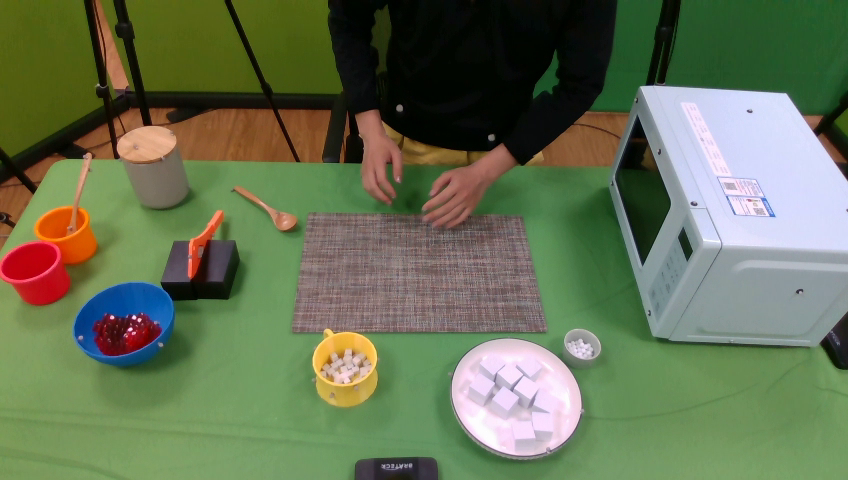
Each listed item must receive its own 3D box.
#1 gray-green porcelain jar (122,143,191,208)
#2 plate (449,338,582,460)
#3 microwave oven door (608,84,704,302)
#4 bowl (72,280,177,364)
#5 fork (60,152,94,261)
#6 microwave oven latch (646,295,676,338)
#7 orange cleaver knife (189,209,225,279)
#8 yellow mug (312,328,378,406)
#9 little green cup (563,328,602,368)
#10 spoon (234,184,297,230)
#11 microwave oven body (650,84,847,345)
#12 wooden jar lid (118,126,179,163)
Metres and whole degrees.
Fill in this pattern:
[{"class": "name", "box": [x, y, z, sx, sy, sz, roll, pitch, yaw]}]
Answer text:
[{"class": "gray-green porcelain jar", "box": [-0.531, -0.137, 1.213, 0.106, 0.127, 0.105, 2, 47, -2]}, {"class": "plate", "box": [0.141, 0.251, 0.956, 0.208, 0.039, 0.206, 2, 46, -2]}, {"class": "microwave oven door", "box": [0.424, -0.096, 1.138, 0.039, 0.245, 0.353, 3, 46, -1]}, {"class": "bowl", "box": [-0.472, 0.147, 0.982, 0.151, 0.077, 0.150, 2, 46, -2]}, {"class": "fork", "box": [-0.638, -0.063, 1.119, 0.028, 0.018, 0.207, 12, 90, 6]}, {"class": "microwave oven latch", "box": [0.412, 0.133, 1.060, 0.030, 0.029, 0.078, 3, 46, 0]}, {"class": "orange cleaver knife", "box": [-0.400, 0.002, 1.122, 0.012, 0.077, 0.210, 4, 23, -4]}, {"class": "yellow mug", "box": [-0.132, 0.193, 0.971, 0.100, 0.064, 0.130, -22, 51, -22]}, {"class": "little green cup", "box": [0.265, 0.184, 1.025, 0.061, 0.039, 0.061, 1, 46, -1]}, {"class": "spoon", "box": [-0.327, -0.073, 1.239, 0.193, 0.022, 0.041, 34, 71, 25]}, {"class": "microwave oven body", "box": [0.569, -0.054, 1.116, 0.326, 0.261, 0.439, 2, 46, -1]}, {"class": "wooden jar lid", "box": [-0.528, -0.181, 1.167, 0.108, 0.021, 0.107, 4, 47, -4]}]
